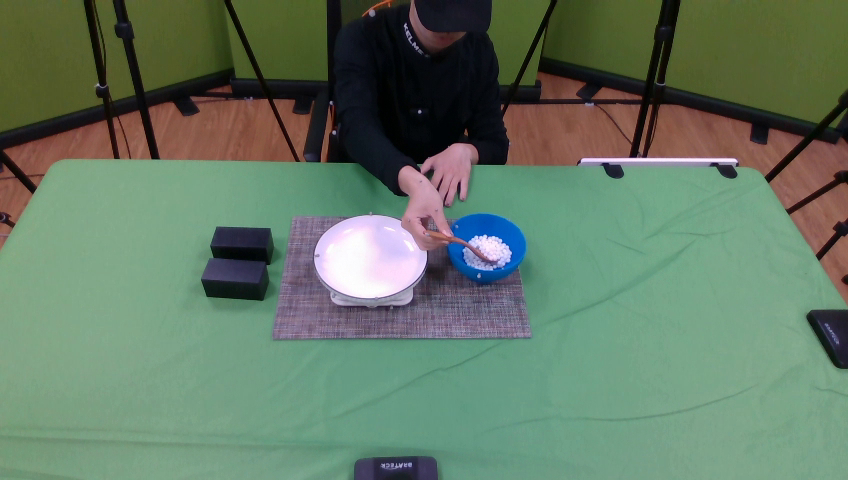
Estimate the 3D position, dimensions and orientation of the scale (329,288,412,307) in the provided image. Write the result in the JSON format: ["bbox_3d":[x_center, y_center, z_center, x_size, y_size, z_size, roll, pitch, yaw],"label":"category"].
[{"bbox_3d":[-0.099,0.042,1.139,0.149,0.032,0.199,1,46,-4],"label":"scale"}]

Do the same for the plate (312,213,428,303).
[{"bbox_3d":[-0.097,0.036,1.100,0.209,0.038,0.208,2,46,-2],"label":"plate"}]

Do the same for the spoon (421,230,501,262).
[{"bbox_3d":[0.068,0.007,1.083,0.195,0.021,0.041,22,22,-40],"label":"spoon"}]

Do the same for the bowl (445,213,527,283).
[{"bbox_3d":[0.111,0.028,1.137,0.151,0.077,0.150,2,46,-2],"label":"bowl"}]
